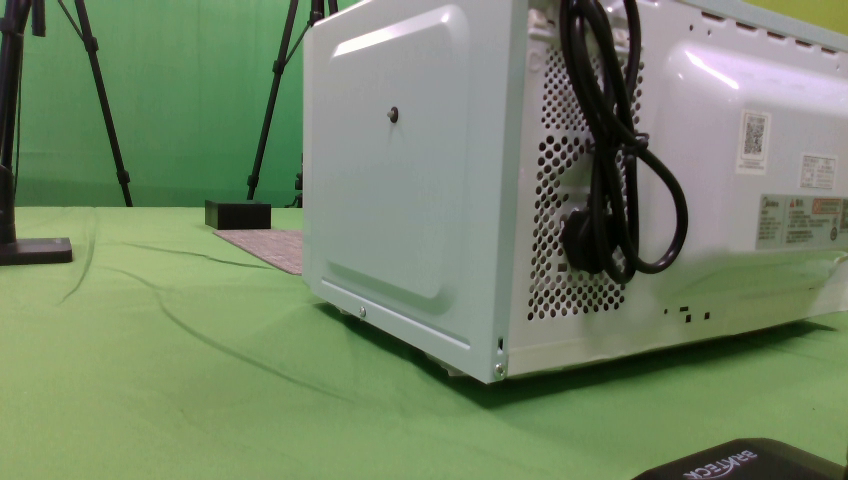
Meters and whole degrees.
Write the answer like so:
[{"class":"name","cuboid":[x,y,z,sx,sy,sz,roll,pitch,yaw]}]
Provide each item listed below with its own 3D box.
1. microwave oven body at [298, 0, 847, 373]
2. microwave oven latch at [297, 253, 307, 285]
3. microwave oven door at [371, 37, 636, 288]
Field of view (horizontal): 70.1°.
[{"class":"microwave oven body","cuboid":[0.151,-0.055,0.543,0.444,0.260,0.324,-1,7,-33]},{"class":"microwave oven latch","cuboid":[-0.082,0.027,0.582,0.079,0.029,0.030,-1,7,-32]},{"class":"microwave oven door","cuboid":[0.109,-0.080,0.686,0.358,0.243,0.039,-2,9,-33]}]
